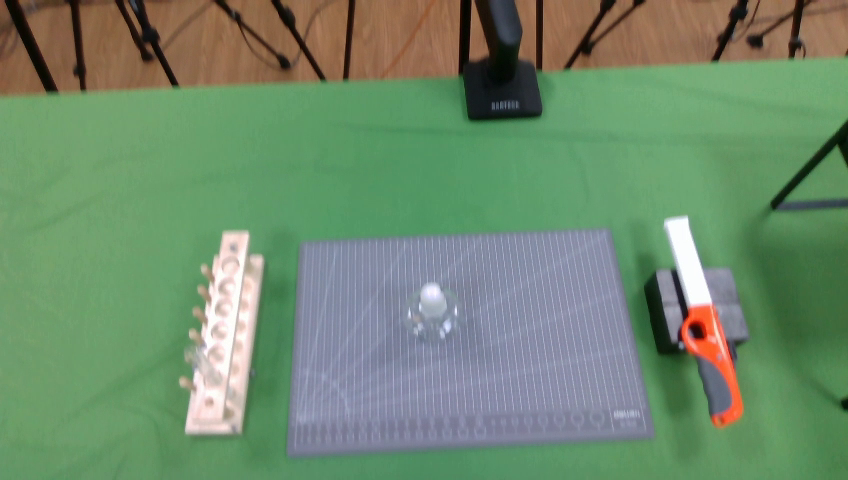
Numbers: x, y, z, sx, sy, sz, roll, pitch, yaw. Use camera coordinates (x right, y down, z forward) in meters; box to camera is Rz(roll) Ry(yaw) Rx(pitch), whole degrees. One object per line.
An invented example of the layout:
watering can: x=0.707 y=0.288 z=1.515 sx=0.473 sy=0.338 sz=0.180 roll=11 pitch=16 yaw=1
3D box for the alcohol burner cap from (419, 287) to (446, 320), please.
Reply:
alcohol burner cap: x=0.010 y=0.074 z=0.730 sx=0.034 sy=0.048 sz=0.033 roll=-1 pitch=62 yaw=2

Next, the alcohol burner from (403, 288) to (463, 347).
alcohol burner: x=0.011 y=0.091 z=0.762 sx=0.078 sy=0.120 sz=0.077 roll=0 pitch=64 yaw=1

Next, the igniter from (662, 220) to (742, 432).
igniter: x=0.346 y=0.098 z=0.759 sx=0.057 sy=0.025 sz=0.274 roll=-8 pitch=62 yaw=8

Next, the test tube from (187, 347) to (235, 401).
test tube: x=-0.240 y=0.156 z=0.691 sx=0.017 sy=0.151 sz=0.017 roll=1 pitch=59 yaw=-1

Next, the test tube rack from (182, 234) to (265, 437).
test tube rack: x=-0.257 y=0.118 z=0.766 sx=0.067 sy=0.086 sz=0.240 roll=0 pitch=63 yaw=0
